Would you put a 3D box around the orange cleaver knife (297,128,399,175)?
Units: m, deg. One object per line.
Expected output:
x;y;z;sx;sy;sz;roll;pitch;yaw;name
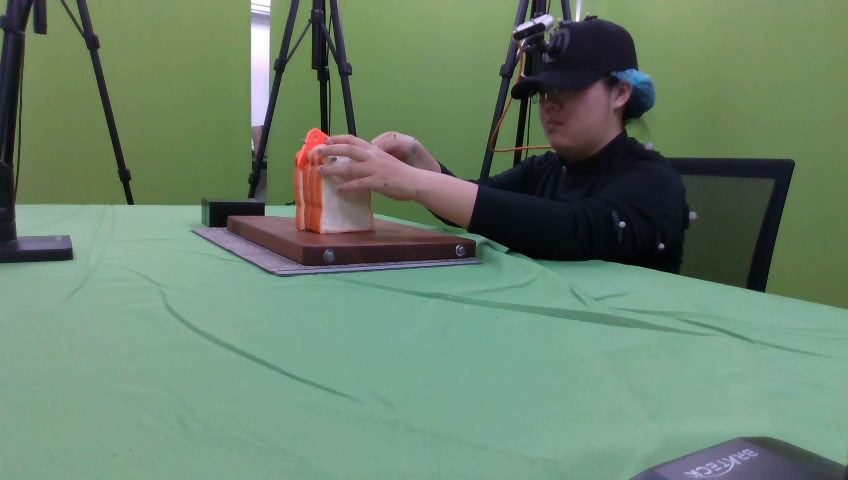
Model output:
-0.119;-0.129;0.990;0.012;0.077;0.212;9;2;41;orange cleaver knife

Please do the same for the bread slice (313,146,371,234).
-0.125;-0.076;0.920;0.018;0.134;0.107;5;9;41;bread slice

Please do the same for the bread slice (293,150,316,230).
-0.163;-0.081;0.956;0.019;0.131;0.105;-8;-4;38;bread slice
